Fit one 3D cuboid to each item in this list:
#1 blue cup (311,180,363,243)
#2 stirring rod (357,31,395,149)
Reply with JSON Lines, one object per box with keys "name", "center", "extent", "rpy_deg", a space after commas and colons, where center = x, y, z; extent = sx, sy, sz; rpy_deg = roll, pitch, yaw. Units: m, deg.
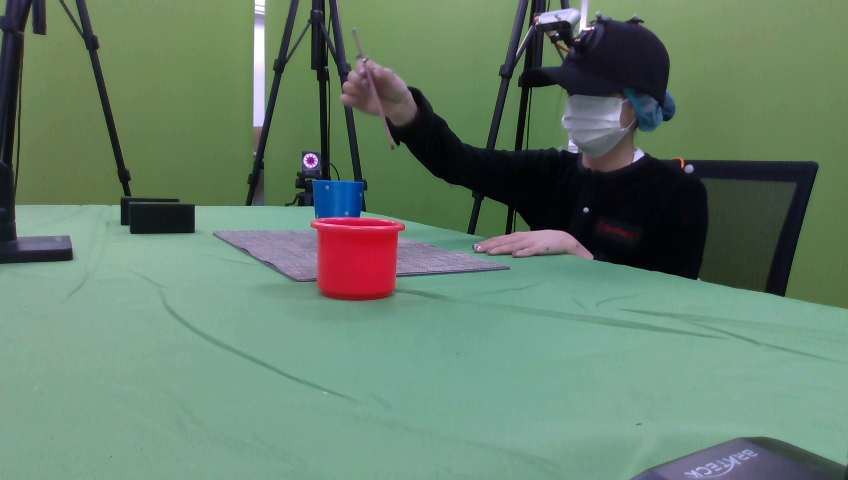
{"name": "blue cup", "center": [-0.144, -0.047, 0.997], "extent": [0.093, 0.100, 0.092], "rpy_deg": [2, 6, 0]}
{"name": "stirring rod", "center": [-0.065, -0.204, 0.816], "extent": [0.006, 0.175, 0.014], "rpy_deg": [-16, -12, -3]}
